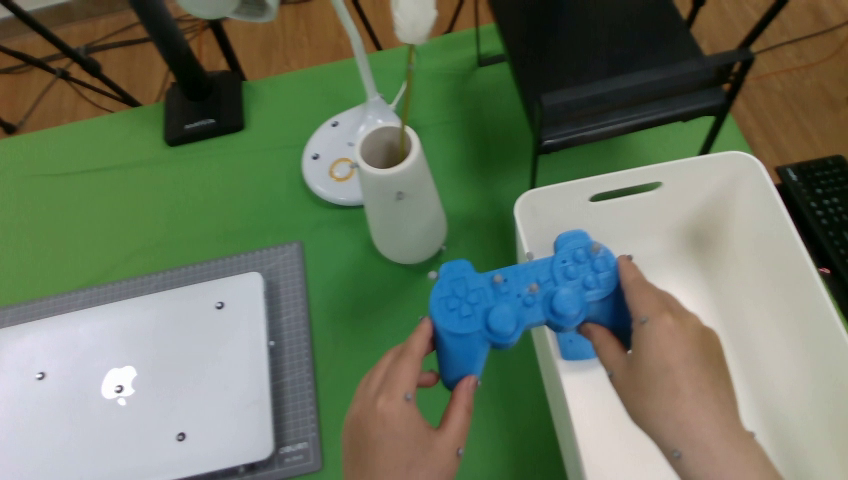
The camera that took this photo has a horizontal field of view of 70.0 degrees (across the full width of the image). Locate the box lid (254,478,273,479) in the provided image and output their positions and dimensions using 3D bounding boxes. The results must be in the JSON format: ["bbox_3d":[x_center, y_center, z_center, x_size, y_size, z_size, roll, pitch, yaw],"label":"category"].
[{"bbox_3d":[-0.309,0.411,0.614,0.371,0.015,0.260,-13,62,0],"label":"box lid"}]

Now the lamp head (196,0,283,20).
[{"bbox_3d":[-0.159,-0.262,0.510,0.112,0.113,0.122,15,83,15],"label":"lamp head"}]

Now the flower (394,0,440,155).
[{"bbox_3d":[-0.019,-0.104,0.644,0.038,0.364,0.043,-17,50,-21],"label":"flower"}]

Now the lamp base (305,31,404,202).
[{"bbox_3d":[-0.093,-0.169,0.793,0.160,0.182,0.178,18,63,16],"label":"lamp base"}]

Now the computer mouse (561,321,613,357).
[{"bbox_3d":[0.183,0.078,0.702,0.063,0.041,0.116,-12,54,4],"label":"computer mouse"}]

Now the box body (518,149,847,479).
[{"bbox_3d":[0.254,0.116,0.609,0.254,0.162,0.360,-11,61,2],"label":"box body"}]

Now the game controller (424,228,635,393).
[{"bbox_3d":[0.075,0.049,0.453,0.155,0.052,0.096,-14,69,-2],"label":"game controller"}]

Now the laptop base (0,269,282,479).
[{"bbox_3d":[-0.350,0.176,0.735,0.354,0.023,0.233,-13,65,0],"label":"laptop base"}]

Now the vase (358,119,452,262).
[{"bbox_3d":[-0.023,-0.053,0.713,0.098,0.202,0.097,-4,60,7],"label":"vase"}]

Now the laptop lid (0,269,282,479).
[{"bbox_3d":[-0.350,0.173,0.724,0.357,0.013,0.239,-11,64,1],"label":"laptop lid"}]
